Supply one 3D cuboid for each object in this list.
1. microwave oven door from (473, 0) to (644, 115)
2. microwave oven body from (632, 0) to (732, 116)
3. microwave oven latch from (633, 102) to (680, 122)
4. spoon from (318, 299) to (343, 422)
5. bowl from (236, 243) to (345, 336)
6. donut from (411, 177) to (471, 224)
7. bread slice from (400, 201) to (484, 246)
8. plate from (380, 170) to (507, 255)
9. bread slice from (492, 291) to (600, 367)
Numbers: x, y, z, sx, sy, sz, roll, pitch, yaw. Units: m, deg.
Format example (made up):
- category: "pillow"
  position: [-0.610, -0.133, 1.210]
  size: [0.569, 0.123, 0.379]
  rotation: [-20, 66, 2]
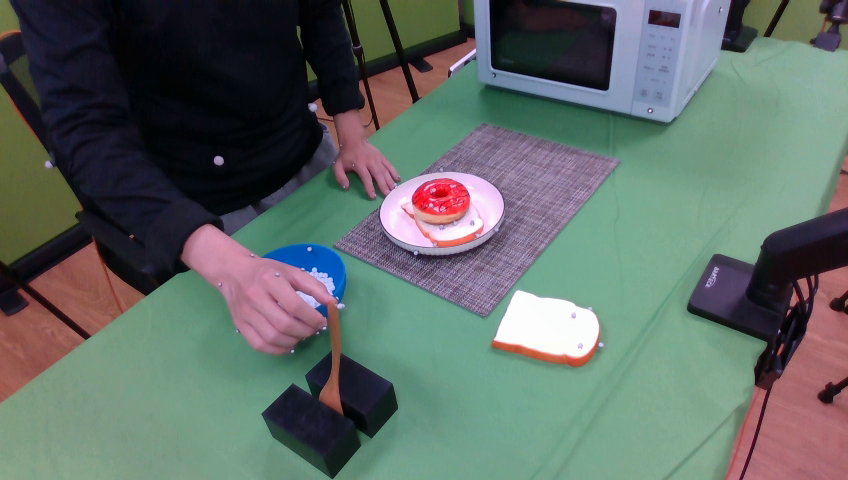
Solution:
- category: "microwave oven door"
  position: [0.257, -0.396, 1.199]
  size: [0.353, 0.245, 0.039]
  rotation: [21, 48, 29]
- category: "microwave oven body"
  position: [0.377, -0.462, 1.267]
  size: [0.438, 0.261, 0.327]
  rotation: [21, 48, 30]
- category: "microwave oven latch"
  position: [0.444, -0.249, 1.157]
  size: [0.078, 0.029, 0.030]
  rotation: [21, 49, 30]
- category: "spoon"
  position: [-0.104, 0.140, 0.686]
  size: [0.041, 0.194, 0.022]
  rotation: [32, 39, 33]
- category: "bowl"
  position: [-0.180, 0.082, 0.855]
  size: [0.151, 0.077, 0.150]
  rotation: [-4, 41, 4]
- category: "donut"
  position: [0.028, -0.064, 0.978]
  size: [0.099, 0.048, 0.098]
  rotation: [-4, 40, 4]
- category: "bread slice"
  position: [0.037, -0.037, 0.991]
  size: [0.107, 0.018, 0.133]
  rotation: [-23, 42, -17]
- category: "plate"
  position: [0.033, -0.042, 0.995]
  size: [0.207, 0.039, 0.206]
  rotation: [-4, 40, 4]
- category: "bread slice"
  position: [0.169, 0.118, 0.811]
  size: [0.131, 0.019, 0.105]
  rotation: [11, 44, 21]
